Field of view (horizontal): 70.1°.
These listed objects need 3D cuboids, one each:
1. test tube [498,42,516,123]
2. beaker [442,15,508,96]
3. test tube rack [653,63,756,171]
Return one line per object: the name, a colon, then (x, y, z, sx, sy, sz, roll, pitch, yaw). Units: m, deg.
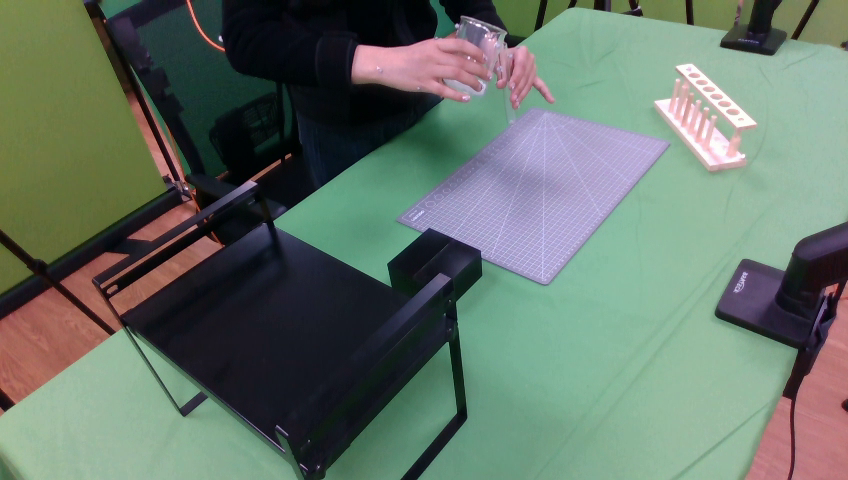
test tube: (0.139, -0.259, 1.007, 0.017, 0.151, 0.017, -8, 45, 8)
beaker: (0.075, -0.275, 0.909, 0.073, 0.100, 0.084, 27, 17, 21)
test tube rack: (0.510, -0.233, 1.120, 0.067, 0.085, 0.241, -9, 41, -1)
